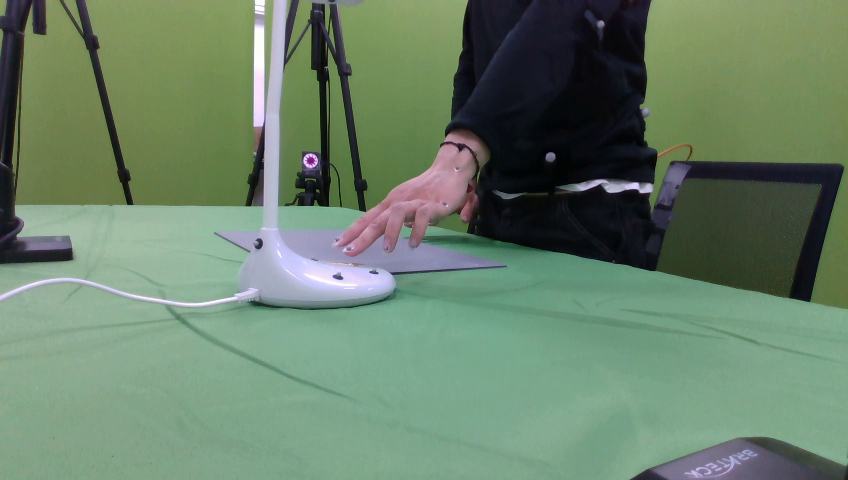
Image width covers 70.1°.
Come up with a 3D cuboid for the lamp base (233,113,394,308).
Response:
[{"bbox_3d":[-0.113,-0.033,0.599,0.160,0.180,0.180,6,11,28],"label":"lamp base"}]

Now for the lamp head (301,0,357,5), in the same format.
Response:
[{"bbox_3d":[-0.096,-0.314,0.610,0.112,0.123,0.112,-4,50,5],"label":"lamp head"}]
